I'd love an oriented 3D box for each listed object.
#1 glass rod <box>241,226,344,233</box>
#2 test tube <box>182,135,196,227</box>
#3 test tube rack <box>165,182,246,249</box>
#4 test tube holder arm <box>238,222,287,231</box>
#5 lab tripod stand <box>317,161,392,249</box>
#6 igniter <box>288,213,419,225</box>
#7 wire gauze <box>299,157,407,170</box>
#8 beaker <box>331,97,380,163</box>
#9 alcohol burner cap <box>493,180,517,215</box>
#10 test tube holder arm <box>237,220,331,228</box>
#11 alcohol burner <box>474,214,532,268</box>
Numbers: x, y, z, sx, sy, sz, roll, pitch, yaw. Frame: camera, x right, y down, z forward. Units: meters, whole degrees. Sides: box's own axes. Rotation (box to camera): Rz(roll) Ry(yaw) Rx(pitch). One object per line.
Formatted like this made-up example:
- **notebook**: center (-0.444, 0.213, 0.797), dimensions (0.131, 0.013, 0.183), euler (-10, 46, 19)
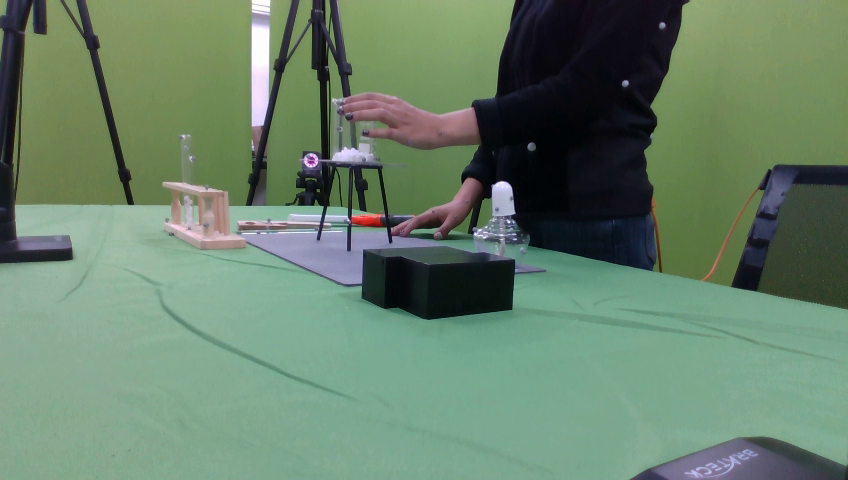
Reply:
- **glass rod**: center (-0.239, -0.019, 1.118), dimensions (0.201, 0.008, 0.008), euler (-3, 9, -33)
- **test tube**: center (-0.382, -0.095, 0.983), dimensions (0.017, 0.150, 0.017), euler (-1, 2, 0)
- **test tube rack**: center (-0.360, -0.045, 0.983), dimensions (0.067, 0.085, 0.241), euler (-3, 9, -34)
- **test tube holder arm**: center (-0.296, -0.024, 1.112), dimensions (0.088, 0.015, 0.010), euler (-2, 42, -32)
- **lab tripod stand**: center (-0.111, -0.059, 0.963), dimensions (0.148, 0.131, 0.148), euler (4, 8, 0)
- **igniter**: center (-0.145, -0.044, 1.278), dimensions (0.278, 0.025, 0.057), euler (-1, -2, -21)
- **wire gauze**: center (-0.112, -0.124, 0.959), dimensions (0.121, 0.011, 0.126), euler (13, 12, 40)
- **beaker**: center (-0.111, -0.171, 0.950), dimensions (0.073, 0.100, 0.084), euler (12, 12, 42)
- **alcohol burner cap**: center (0.107, -0.057, 0.812), dimensions (0.034, 0.048, 0.034), euler (-7, 11, 2)
- **test tube holder arm**: center (-0.260, -0.029, 1.140), dimensions (0.179, 0.015, 0.013), euler (-2, 42, -32)
- **alcohol burner**: center (0.107, -0.022, 0.819), dimensions (0.078, 0.119, 0.078), euler (1, 9, 0)
